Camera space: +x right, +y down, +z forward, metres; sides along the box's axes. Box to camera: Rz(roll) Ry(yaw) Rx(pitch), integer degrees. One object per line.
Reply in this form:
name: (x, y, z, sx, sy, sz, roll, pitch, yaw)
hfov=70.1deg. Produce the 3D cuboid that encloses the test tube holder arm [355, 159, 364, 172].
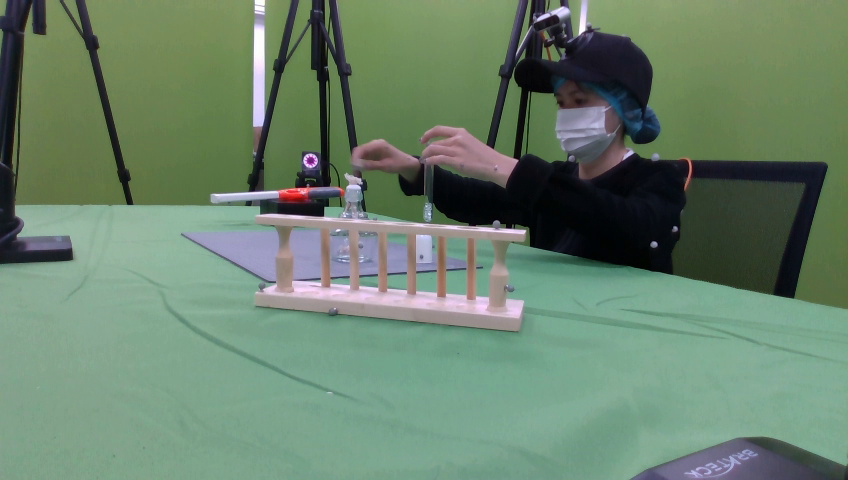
test tube holder arm: (-0.121, -0.140, 1.148, 0.013, 0.015, 0.178, 12, 3, -5)

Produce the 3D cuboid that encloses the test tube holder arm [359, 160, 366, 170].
test tube holder arm: (-0.112, -0.136, 1.104, 0.010, 0.015, 0.087, 12, 3, -6)

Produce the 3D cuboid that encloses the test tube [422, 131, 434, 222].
test tube: (0.007, -0.104, 1.001, 0.017, 0.150, 0.017, 2, 12, 0)

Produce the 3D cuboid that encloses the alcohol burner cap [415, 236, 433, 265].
alcohol burner cap: (-0.004, 0.011, 0.835, 0.034, 0.048, 0.034, 2, 7, 0)

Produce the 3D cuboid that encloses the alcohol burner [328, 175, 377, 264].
alcohol burner: (-0.098, -0.028, 0.819, 0.078, 0.119, 0.078, 1, 8, 0)

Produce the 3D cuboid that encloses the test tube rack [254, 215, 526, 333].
test tube rack: (-0.030, 0.025, 0.557, 0.242, 0.085, 0.067, 4, 7, 12)

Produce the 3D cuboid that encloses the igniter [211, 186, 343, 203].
igniter: (-0.300, -0.095, 1.266, 0.278, 0.025, 0.057, -6, 12, -34)
